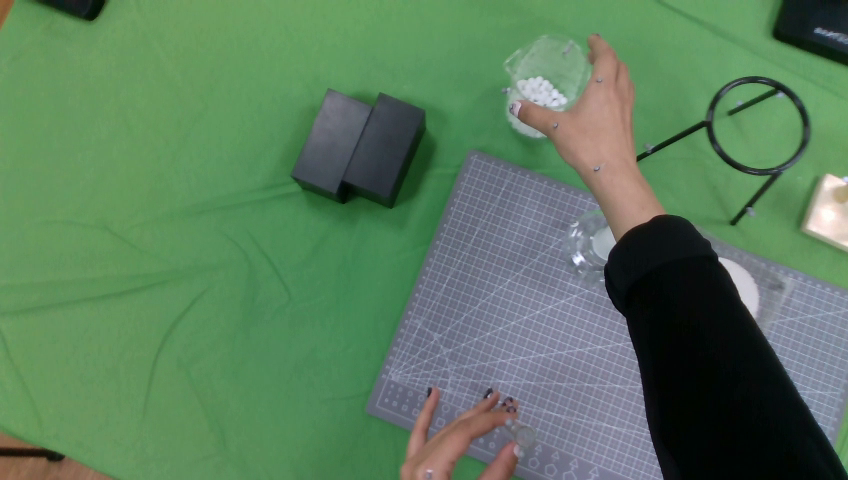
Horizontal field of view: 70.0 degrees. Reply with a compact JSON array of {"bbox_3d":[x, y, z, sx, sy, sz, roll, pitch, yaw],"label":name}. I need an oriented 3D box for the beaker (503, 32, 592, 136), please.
[{"bbox_3d":[0.116,-0.153,0.614,0.084,0.100,0.074,14,82,4],"label":"beaker"}]

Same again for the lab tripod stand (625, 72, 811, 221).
[{"bbox_3d":[0.287,-0.092,0.586,0.148,0.132,0.148,0,83,2],"label":"lab tripod stand"}]

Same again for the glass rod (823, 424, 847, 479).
[{"bbox_3d":[0.432,0.181,0.609,0.008,0.008,0.199,27,86,4],"label":"glass rod"}]

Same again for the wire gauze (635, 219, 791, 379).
[{"bbox_3d":[0.297,0.059,0.626,0.125,0.011,0.121,33,85,4],"label":"wire gauze"}]

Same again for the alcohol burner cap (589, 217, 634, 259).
[{"bbox_3d":[0.171,-0.004,0.546,0.034,0.048,0.033,1,76,-2],"label":"alcohol burner cap"}]

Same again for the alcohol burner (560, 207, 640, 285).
[{"bbox_3d":[0.172,0.003,0.582,0.078,0.119,0.077,0,81,3],"label":"alcohol burner"}]

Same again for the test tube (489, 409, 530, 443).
[{"bbox_3d":[0.070,0.154,0.507,0.017,0.151,0.017,0,78,0],"label":"test tube"}]

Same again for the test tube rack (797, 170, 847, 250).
[{"bbox_3d":[0.516,0.002,0.595,0.242,0.085,0.066,25,83,4],"label":"test tube rack"}]
